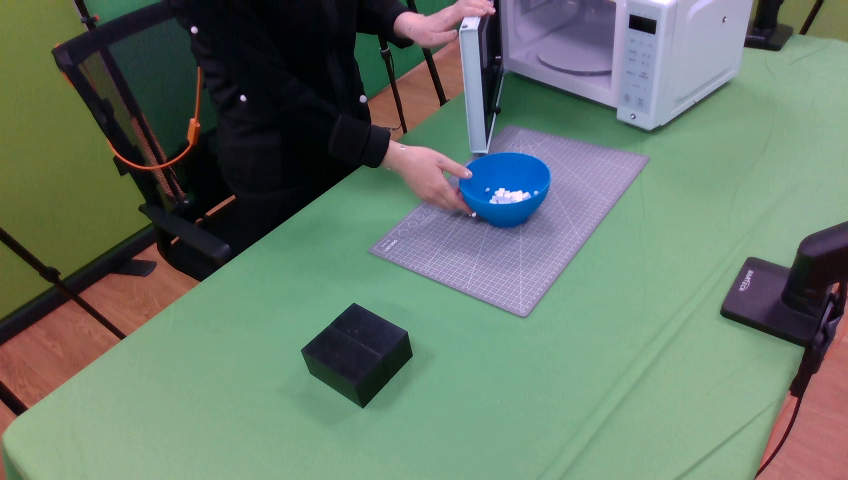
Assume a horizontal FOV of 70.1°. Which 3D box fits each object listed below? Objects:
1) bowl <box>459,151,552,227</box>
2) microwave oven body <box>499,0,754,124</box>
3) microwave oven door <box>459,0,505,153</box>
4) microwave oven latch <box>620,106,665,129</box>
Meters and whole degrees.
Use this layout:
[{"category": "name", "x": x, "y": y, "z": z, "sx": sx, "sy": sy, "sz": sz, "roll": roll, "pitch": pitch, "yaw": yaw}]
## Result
[{"category": "bowl", "x": 0.136, "y": -0.074, "z": 1.000, "sx": 0.151, "sy": 0.077, "sz": 0.150, "roll": -5, "pitch": 40, "yaw": 5}, {"category": "microwave oven body", "x": 0.402, "y": -0.458, "z": 1.259, "sx": 0.327, "sy": 0.261, "sz": 0.437, "roll": -33, "pitch": 45, "yaw": -24}, {"category": "microwave oven door", "x": 0.122, "y": -0.373, "z": 1.205, "sx": 0.039, "sy": 0.245, "sz": 0.355, "roll": 1, "pitch": 41, "yaw": 13}, {"category": "microwave oven latch", "x": 0.413, "y": -0.237, "z": 1.146, "sx": 0.030, "sy": 0.029, "sz": 0.078, "roll": -32, "pitch": 44, "yaw": -23}]
